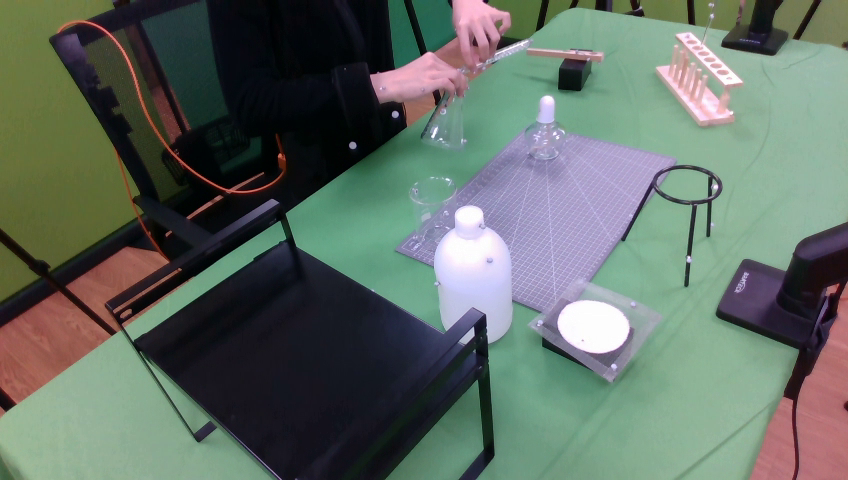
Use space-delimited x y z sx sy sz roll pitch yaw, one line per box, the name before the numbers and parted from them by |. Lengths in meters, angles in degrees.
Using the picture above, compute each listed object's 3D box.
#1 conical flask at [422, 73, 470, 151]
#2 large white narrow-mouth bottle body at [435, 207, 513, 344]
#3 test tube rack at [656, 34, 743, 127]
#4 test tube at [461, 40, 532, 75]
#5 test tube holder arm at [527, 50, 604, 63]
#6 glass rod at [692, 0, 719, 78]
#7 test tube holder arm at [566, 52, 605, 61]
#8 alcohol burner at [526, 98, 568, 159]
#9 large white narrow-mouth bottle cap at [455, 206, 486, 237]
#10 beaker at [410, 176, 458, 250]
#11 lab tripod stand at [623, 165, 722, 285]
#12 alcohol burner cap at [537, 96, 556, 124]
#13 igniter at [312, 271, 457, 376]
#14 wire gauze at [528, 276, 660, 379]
conical flask | 0.045 -0.216 1.014 0.075 0.122 0.075 14 8 -2
large white narrow-mouth bottle body | 0.065 0.041 0.791 0.102 0.195 0.101 -4 41 4
test tube rack | 0.553 -0.331 1.233 0.067 0.085 0.241 -7 40 2
test tube | 0.126 -0.314 1.035 0.151 0.017 0.017 -28 44 -23
test tube holder arm | 0.311 -0.409 1.344 0.177 0.015 0.013 15 39 30
glass rod | 0.561 -0.401 1.214 0.008 0.200 0.008 -1 48 2
test tube holder arm | 0.352 -0.401 1.325 0.087 0.015 0.010 15 39 31
alcohol burner | 0.228 -0.210 1.118 0.078 0.119 0.077 -5 43 5
large white narrow-mouth bottle cap | 0.057 -0.023 0.734 0.038 0.024 0.037 -4 40 4
beaker | 0.022 -0.041 0.964 0.073 0.101 0.084 28 51 35
lab tripod stand | 0.365 -0.030 0.875 0.148 0.132 0.147 -6 41 6
alcohol burner cap | 0.223 -0.238 1.095 0.034 0.048 0.033 -2 37 2
igniter | -0.068 0.111 0.859 0.274 0.025 0.057 27 61 34
wire gauze | 0.214 0.103 0.763 0.124 0.011 0.122 30 52 35
